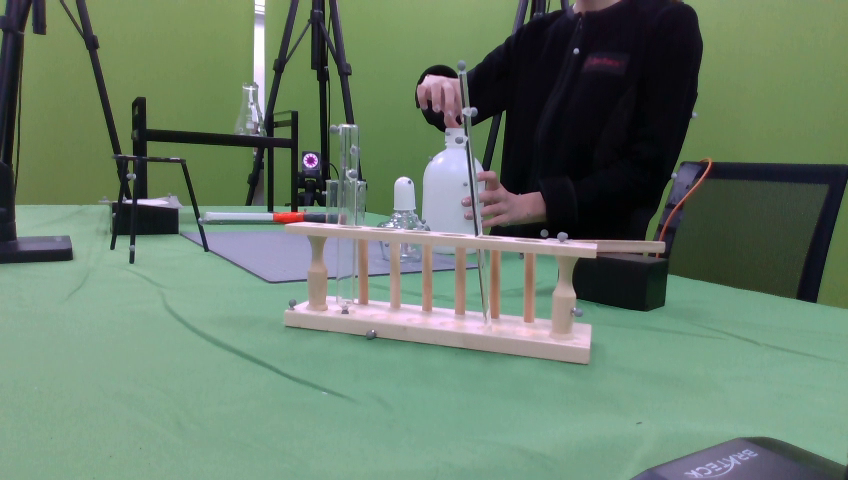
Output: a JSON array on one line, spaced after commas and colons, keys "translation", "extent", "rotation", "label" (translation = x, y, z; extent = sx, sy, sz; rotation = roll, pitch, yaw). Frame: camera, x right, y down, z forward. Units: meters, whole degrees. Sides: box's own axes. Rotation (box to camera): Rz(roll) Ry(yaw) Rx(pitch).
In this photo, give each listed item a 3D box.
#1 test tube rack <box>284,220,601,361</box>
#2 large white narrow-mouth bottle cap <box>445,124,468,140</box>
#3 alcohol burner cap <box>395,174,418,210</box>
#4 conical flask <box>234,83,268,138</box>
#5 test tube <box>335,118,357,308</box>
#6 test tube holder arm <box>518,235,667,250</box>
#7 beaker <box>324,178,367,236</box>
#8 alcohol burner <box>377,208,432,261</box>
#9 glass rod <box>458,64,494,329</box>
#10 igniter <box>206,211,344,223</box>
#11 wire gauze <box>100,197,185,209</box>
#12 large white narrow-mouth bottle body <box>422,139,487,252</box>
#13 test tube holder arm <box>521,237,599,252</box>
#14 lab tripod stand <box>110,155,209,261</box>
[{"translation": [0.013, 0.032, 0.482], "extent": [0.242, 0.085, 0.067], "rotation": [4, 7, 16], "label": "test tube rack"}, {"translation": [0.052, -0.169, 0.950], "extent": [0.038, 0.024, 0.037], "rotation": [2, 8, 0], "label": "large white narrow-mouth bottle cap"}, {"translation": [-0.025, -0.067, 0.833], "extent": [0.034, 0.048, 0.034], "rotation": [-1, 12, 1], "label": "alcohol burner cap"}, {"translation": [-0.400, -0.298, 1.396], "extent": [0.075, 0.122, 0.075], "rotation": [2, 8, 0], "label": "conical flask"}, {"translation": [-0.061, -0.019, 0.476], "extent": [0.017, 0.150, 0.017], "rotation": [2, 11, 0], "label": "test tube"}, {"translation": [0.186, 0.003, 0.654], "extent": [0.179, 0.015, 0.013], "rotation": [0, 13, -18], "label": "test tube holder arm"}, {"translation": [-0.139, -0.060, 1.083], "extent": [0.074, 0.100, 0.083], "rotation": [-3, 10, -31], "label": "beaker"}, {"translation": [-0.027, -0.031, 0.838], "extent": [0.078, 0.119, 0.078], "rotation": [0, 6, 0], "label": "alcohol burner"}, {"translation": [0.039, -0.029, 0.449], "extent": [0.008, 0.199, 0.008], "rotation": [-7, 9, 1], "label": "glass rod"}, {"translation": [-0.302, -0.048, 1.249], "extent": [0.278, 0.025, 0.057], "rotation": [-2, -2, -27], "label": "igniter"}, {"translation": [-0.469, -0.062, 1.008], "extent": [0.126, 0.011, 0.121], "rotation": [-2, 8, -25], "label": "wire gauze"}, {"translation": [0.050, -0.082, 0.962], "extent": [0.102, 0.194, 0.102], "rotation": [2, 8, 0], "label": "large white narrow-mouth bottle body"}, {"translation": [0.144, 0.004, 0.635], "extent": [0.088, 0.015, 0.010], "rotation": [0, 13, -19], "label": "test tube holder arm"}, {"translation": [-0.361, -0.046, 0.806], "extent": [0.148, 0.131, 0.148], "rotation": [2, 5, 0], "label": "lab tripod stand"}]
